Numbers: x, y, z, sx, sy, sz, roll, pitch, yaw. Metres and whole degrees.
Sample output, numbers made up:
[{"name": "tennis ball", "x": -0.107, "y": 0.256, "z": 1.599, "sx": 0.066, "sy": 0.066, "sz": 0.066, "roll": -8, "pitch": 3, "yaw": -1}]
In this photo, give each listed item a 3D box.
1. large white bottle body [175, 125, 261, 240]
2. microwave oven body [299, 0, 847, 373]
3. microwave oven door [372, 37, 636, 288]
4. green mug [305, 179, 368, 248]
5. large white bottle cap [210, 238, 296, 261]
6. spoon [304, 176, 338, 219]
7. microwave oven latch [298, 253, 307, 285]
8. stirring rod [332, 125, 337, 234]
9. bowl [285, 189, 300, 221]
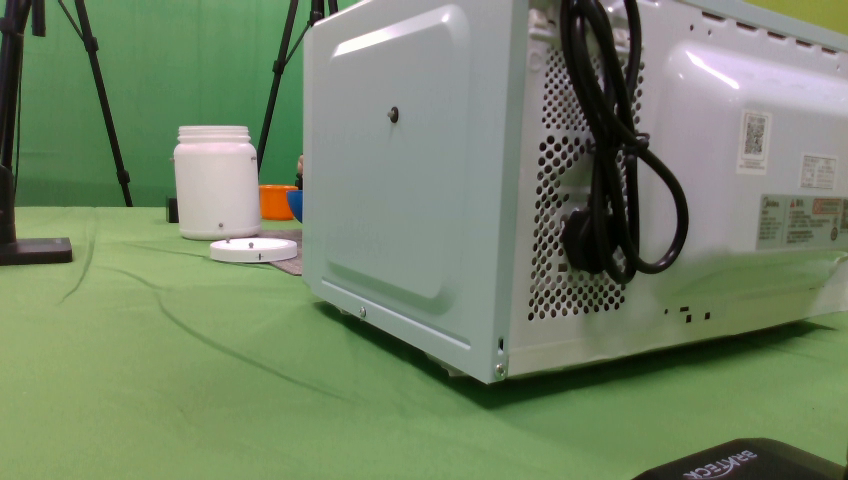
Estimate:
[{"name": "large white bottle body", "x": -0.349, "y": -0.100, "z": 1.025, "sx": 0.131, "sy": 0.184, "sz": 0.130, "roll": -1, "pitch": 9, "yaw": 0}, {"name": "microwave oven body", "x": 0.152, "y": -0.055, "z": 0.542, "sx": 0.444, "sy": 0.260, "sz": 0.324, "roll": -2, "pitch": 7, "yaw": -33}, {"name": "microwave oven door", "x": 0.109, "y": -0.080, "z": 0.686, "sx": 0.358, "sy": 0.243, "sz": 0.039, "roll": -2, "pitch": 9, "yaw": -33}, {"name": "green mug", "x": -0.133, "y": -0.045, "z": 0.977, "sx": 0.092, "sy": 0.105, "sz": 0.126, "roll": 7, "pitch": 9, "yaw": 31}, {"name": "large white bottle cap", "x": -0.236, "y": 0.012, "z": 0.839, "sx": 0.115, "sy": 0.018, "sz": 0.115, "roll": 1, "pitch": 8, "yaw": 0}, {"name": "spoon", "x": -0.201, "y": -0.085, "z": 1.146, "sx": 0.042, "sy": 0.021, "sz": 0.193, "roll": 3, "pitch": 29, "yaw": -25}, {"name": "microwave oven latch", "x": -0.081, "y": 0.027, "z": 0.583, "sx": 0.079, "sy": 0.029, "sz": 0.030, "roll": -2, "pitch": 8, "yaw": -33}, {"name": "stirring rod", "x": -0.143, "y": -0.095, "z": 0.965, "sx": 0.006, "sy": 0.176, "sz": 0.014, "roll": 0, "pitch": 14, "yaw": -12}, {"name": "bowl", "x": -0.180, "y": -0.051, "z": 1.113, "sx": 0.151, "sy": 0.077, "sz": 0.151, "roll": 3, "pitch": 8, "yaw": 0}]
